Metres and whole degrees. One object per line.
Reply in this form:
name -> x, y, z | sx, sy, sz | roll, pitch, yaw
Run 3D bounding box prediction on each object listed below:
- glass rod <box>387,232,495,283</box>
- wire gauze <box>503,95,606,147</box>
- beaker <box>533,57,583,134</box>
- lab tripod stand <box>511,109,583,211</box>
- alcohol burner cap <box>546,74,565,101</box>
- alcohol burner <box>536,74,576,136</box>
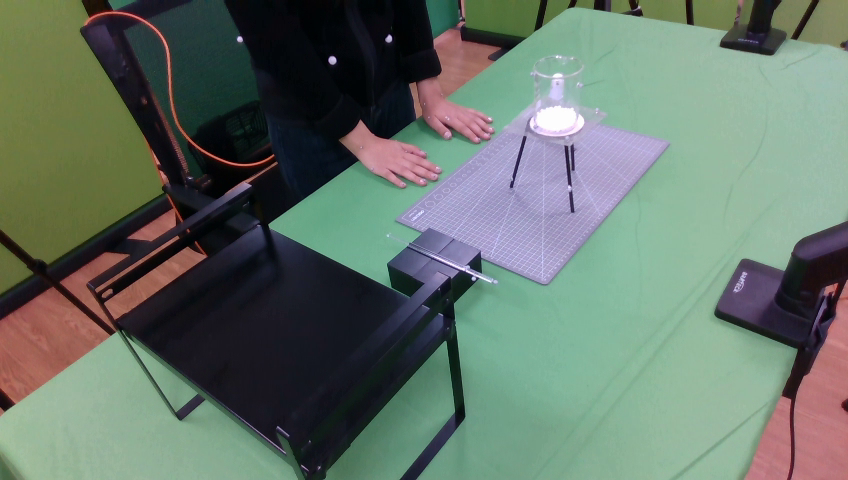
glass rod -> 0.020, 0.025, 0.880 | 0.198, 0.008, 0.008 | 23, 49, 32
wire gauze -> 0.211, -0.191, 0.976 | 0.120, 0.011, 0.125 | 24, 52, 32
beaker -> 0.208, -0.225, 0.941 | 0.073, 0.101, 0.084 | 10, 44, 20
lab tripod stand -> 0.220, -0.138, 1.014 | 0.148, 0.132, 0.147 | -3, 41, 3
alcohol burner cap -> 0.251, -0.292, 1.150 | 0.034, 0.048, 0.033 | 0, 41, 0
alcohol burner -> 0.256, -0.264, 1.173 | 0.078, 0.119, 0.077 | -6, 40, 5
